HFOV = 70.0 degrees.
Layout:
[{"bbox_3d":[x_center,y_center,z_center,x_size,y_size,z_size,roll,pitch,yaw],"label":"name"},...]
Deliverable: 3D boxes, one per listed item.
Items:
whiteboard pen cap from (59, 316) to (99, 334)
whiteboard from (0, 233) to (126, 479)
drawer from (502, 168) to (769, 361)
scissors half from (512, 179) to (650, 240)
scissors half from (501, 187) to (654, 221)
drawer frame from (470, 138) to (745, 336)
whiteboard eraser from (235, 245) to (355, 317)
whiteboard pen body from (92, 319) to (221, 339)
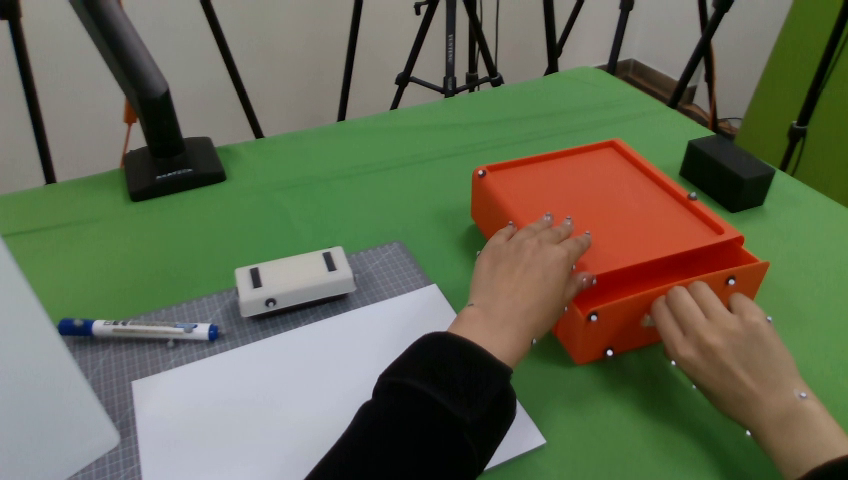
[{"bbox_3d":[-0.325,0.081,0.575,0.033,0.018,0.018,2,38,-4],"label":"whiteboard pen cap"},{"bbox_3d":[-0.399,0.069,0.418,0.217,0.308,0.142,-33,29,-33],"label":"whiteboard"},{"bbox_3d":[0.194,0.007,0.625,0.195,0.074,0.209,-13,40,-15],"label":"drawer"},{"bbox_3d":[0.182,-0.029,0.722,0.175,0.040,0.012,-20,36,29],"label":"scissors half"},{"bbox_3d":[0.178,-0.039,0.715,0.175,0.040,0.012,-6,35,17],"label":"scissors half"},{"bbox_3d":[0.182,-0.014,0.653,0.202,0.083,0.211,-14,39,-15],"label":"drawer frame"},{"bbox_3d":[-0.130,0.043,0.612,0.113,0.042,0.055,-13,38,-16],"label":"whiteboard eraser"},{"bbox_3d":[-0.266,0.084,0.576,0.141,0.017,0.017,2,38,-2],"label":"whiteboard pen body"}]
